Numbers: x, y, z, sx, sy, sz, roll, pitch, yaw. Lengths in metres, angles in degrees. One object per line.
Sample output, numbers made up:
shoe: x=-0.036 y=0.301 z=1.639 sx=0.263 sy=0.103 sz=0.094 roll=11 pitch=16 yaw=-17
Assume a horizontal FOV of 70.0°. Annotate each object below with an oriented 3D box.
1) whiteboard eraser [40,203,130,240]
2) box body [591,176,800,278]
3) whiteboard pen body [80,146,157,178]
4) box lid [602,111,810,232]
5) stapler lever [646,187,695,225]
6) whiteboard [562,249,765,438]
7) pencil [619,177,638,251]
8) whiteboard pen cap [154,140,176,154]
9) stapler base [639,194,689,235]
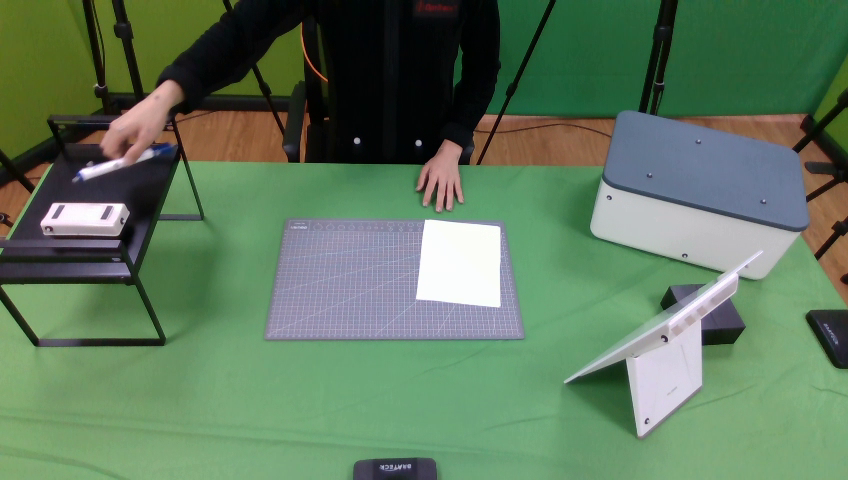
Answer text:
whiteboard eraser: x=-0.513 y=-0.028 z=0.922 sx=0.113 sy=0.042 sz=0.055 roll=1 pitch=48 yaw=-3
box body: x=0.540 y=-0.092 z=1.229 sx=0.363 sy=0.161 sz=0.253 roll=16 pitch=47 yaw=11
whiteboard pen body: x=-0.463 y=-0.126 z=0.948 sx=0.141 sy=0.017 sz=0.017 roll=-29 pitch=55 yaw=-35
box lid: x=0.545 y=-0.143 z=1.176 sx=0.371 sy=0.015 sz=0.262 roll=15 pitch=47 yaw=11
stapler lever: x=0.516 y=-0.078 z=1.265 sx=0.027 sy=0.040 sz=0.117 roll=1 pitch=40 yaw=-31
whiteboard: x=0.386 y=0.175 z=0.905 sx=0.217 sy=0.306 sz=0.143 roll=-26 pitch=72 yaw=-26
pencil: x=0.431 y=-0.060 z=1.284 sx=0.012 sy=0.012 sz=0.193 roll=2 pitch=56 yaw=-2
whiteboard pen cap: x=-0.421 y=-0.150 z=0.981 sx=0.033 sy=0.018 sz=0.018 roll=-28 pitch=54 yaw=-36
stapler base: x=0.510 y=-0.059 z=1.278 sx=0.041 sy=0.024 sz=0.129 roll=1 pitch=38 yaw=-31
